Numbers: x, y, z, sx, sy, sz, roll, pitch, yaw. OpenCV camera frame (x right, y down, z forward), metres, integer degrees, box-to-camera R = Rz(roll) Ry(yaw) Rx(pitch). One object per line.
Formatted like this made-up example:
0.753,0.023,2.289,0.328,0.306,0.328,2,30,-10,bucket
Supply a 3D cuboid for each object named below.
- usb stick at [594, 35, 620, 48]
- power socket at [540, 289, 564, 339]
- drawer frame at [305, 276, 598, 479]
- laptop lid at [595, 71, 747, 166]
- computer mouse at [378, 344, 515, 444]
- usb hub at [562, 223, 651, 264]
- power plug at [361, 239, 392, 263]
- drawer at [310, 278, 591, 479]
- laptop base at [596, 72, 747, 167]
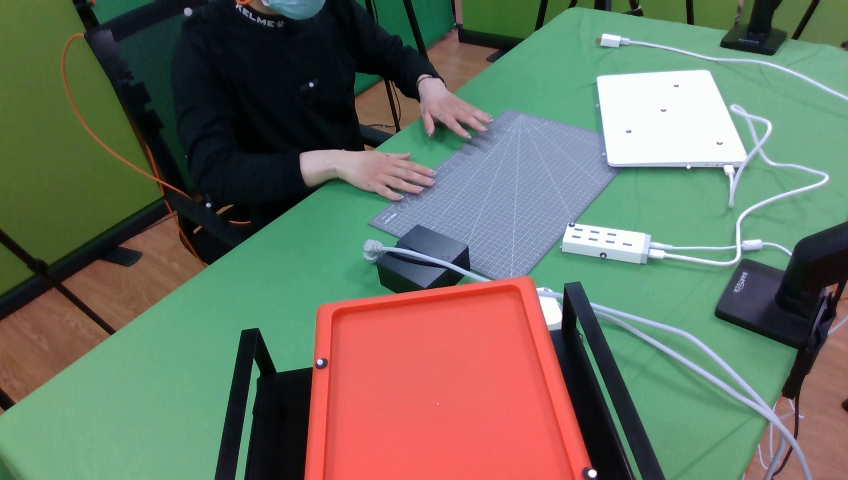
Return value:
0.443,-0.482,1.466,0.059,0.021,0.027,9,43,10,usb stick
0.080,0.112,0.822,0.227,0.033,0.072,-7,41,-1,power socket
0.014,0.137,0.486,0.202,0.083,0.212,-8,41,-1,drawer frame
0.465,-0.248,1.181,0.241,0.013,0.355,1,41,12,laptop lid
0.018,0.126,0.520,0.116,0.041,0.063,13,47,29,computer mouse
0.279,0.004,0.926,0.124,0.025,0.049,10,43,19,usb hub
-0.070,0.024,0.930,0.072,0.053,0.035,32,82,42,power plug
0.013,0.137,0.489,0.195,0.073,0.210,-7,41,0,drawer
0.469,-0.239,1.188,0.235,0.023,0.353,-1,40,11,laptop base
